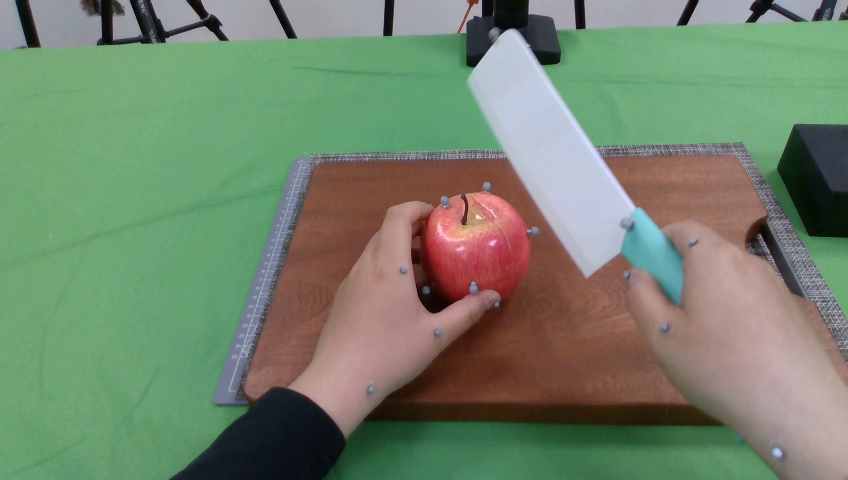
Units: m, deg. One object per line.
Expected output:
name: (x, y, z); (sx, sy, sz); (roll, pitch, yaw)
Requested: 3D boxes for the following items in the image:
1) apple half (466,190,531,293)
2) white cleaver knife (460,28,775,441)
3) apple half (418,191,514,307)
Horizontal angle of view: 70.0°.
apple half: (0.059, -0.002, 0.445); (0.033, 0.082, 0.080); (-24, 47, -13)
white cleaver knife: (0.104, -0.012, 0.368); (0.021, 0.066, 0.284); (-15, 66, -34)
apple half: (0.023, 0.012, 0.436); (0.053, 0.075, 0.080); (-23, 50, -13)
